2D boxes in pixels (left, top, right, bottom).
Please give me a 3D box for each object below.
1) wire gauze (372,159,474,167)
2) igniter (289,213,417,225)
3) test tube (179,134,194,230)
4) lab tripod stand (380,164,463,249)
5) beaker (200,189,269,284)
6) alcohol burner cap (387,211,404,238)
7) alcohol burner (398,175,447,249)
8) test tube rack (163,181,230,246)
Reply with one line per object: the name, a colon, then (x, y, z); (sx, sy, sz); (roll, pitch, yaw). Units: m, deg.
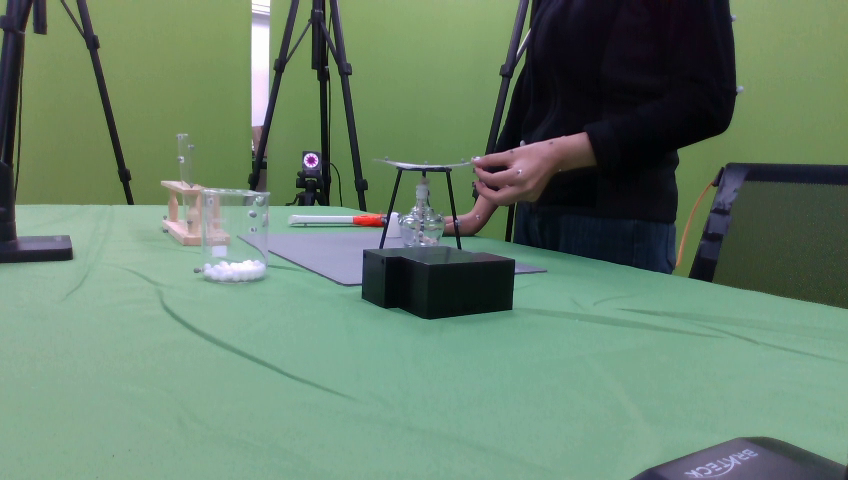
wire gauze: (-0.004, -0.122, 0.959); (0.122, 0.011, 0.124); (-3, 10, -33)
igniter: (-0.144, -0.044, 1.275); (0.278, 0.025, 0.057); (-1, -2, -27)
test tube: (-0.366, -0.089, 0.938); (0.017, 0.150, 0.017); (-1, 9, 1)
lab tripod stand: (-0.003, -0.055, 0.967); (0.148, 0.131, 0.148); (2, 9, 0)
beaker: (-0.209, -0.006, 0.676); (0.073, 0.100, 0.084); (7, 8, 28)
alcohol burner cap: (-0.053, -0.029, 1.107); (0.034, 0.048, 0.034); (2, 9, 0)
alcohol burner: (-0.002, -0.046, 0.973); (0.078, 0.119, 0.078); (0, 7, 0)
test tube rack: (-0.387, -0.050, 1.015); (0.067, 0.085, 0.241); (-2, 9, -30)
